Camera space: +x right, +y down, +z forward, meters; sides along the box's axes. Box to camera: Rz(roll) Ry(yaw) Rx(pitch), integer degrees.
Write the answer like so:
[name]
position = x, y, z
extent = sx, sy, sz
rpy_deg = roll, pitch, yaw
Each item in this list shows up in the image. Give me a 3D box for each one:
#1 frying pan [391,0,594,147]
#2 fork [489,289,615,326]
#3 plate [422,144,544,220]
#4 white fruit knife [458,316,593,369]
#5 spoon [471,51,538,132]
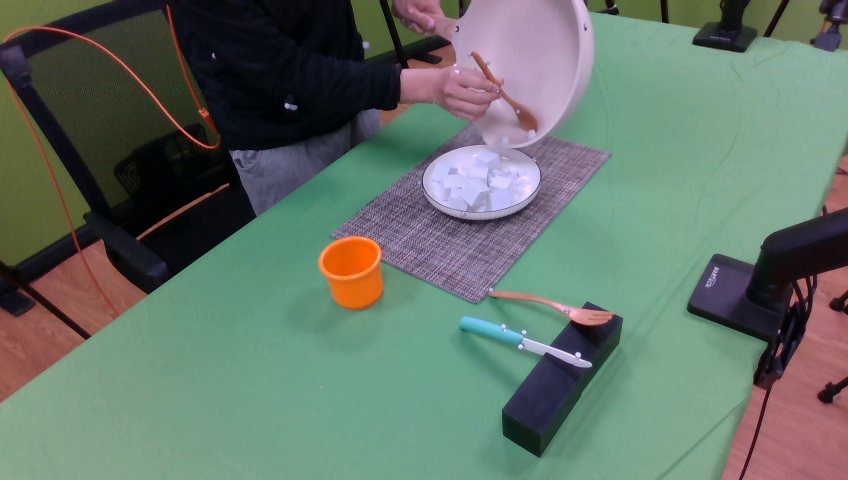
[frying pan]
position = 0.099, -0.353, 1.067
extent = 0.103, 0.307, 0.483
rpy_deg = -15, 40, -42
[fork]
position = 0.161, 0.085, 0.800
extent = 0.205, 0.019, 0.028
rpy_deg = 12, 50, 48
[plate]
position = 0.102, -0.097, 1.048
extent = 0.207, 0.039, 0.206
rpy_deg = -4, 40, 4
[white fruit knife]
position = 0.120, 0.127, 0.757
extent = 0.205, 0.027, 0.016
rpy_deg = 12, 44, 43
[spoon]
position = 0.133, -0.239, 0.987
extent = 0.041, 0.195, 0.021
rpy_deg = 20, 78, 47
